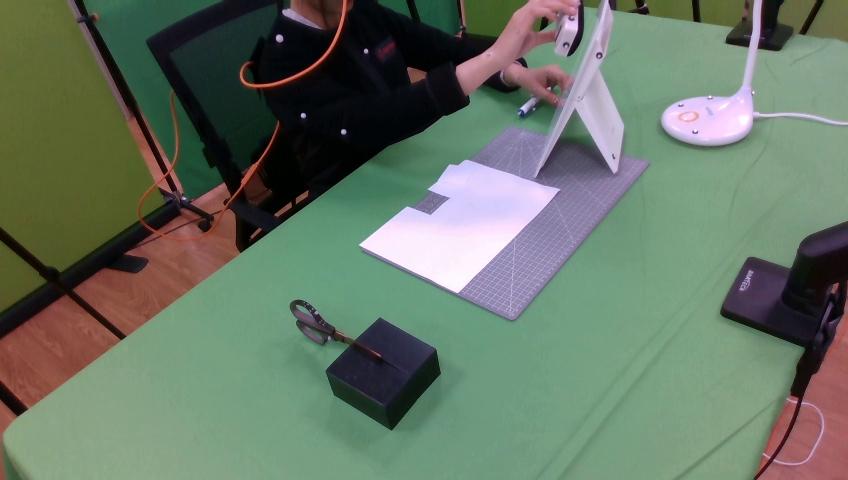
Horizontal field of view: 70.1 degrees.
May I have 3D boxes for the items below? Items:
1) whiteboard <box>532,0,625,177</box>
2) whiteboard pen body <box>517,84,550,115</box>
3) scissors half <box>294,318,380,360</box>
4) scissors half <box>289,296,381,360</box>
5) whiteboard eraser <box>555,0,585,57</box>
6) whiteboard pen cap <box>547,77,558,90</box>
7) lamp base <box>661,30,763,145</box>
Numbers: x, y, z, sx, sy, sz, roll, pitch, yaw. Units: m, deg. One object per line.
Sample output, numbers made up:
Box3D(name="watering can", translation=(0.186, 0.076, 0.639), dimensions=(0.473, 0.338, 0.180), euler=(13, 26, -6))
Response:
Box3D(name="whiteboard", translation=(0.320, -0.258, 1.050), dimensions=(0.144, 0.306, 0.217), euler=(21, 45, 5))
Box3D(name="whiteboard pen body", translation=(0.241, -0.306, 1.290), dimensions=(0.017, 0.017, 0.141), euler=(23, 51, 32))
Box3D(name="scissors half", translation=(-0.118, 0.135, 0.809), dimensions=(0.173, 0.040, 0.013), euler=(9, 37, 43))
Box3D(name="scissors half", translation=(-0.120, 0.117, 0.798), dimensions=(0.174, 0.040, 0.013), euler=(27, 43, 31))
Box3D(name="whiteboard eraser", translation=(0.242, -0.359, 0.999), dimensions=(0.042, 0.056, 0.112), euler=(10, 57, -2))
Box3D(name="whiteboard pen cap", translation=(0.279, -0.341, 1.321), dimensions=(0.018, 0.018, 0.033), euler=(22, 52, 31))
Box3D(name="lamp base", translation=(0.535, -0.287, 1.096), dimensions=(0.179, 0.181, 0.159), euler=(-10, 40, -4))
